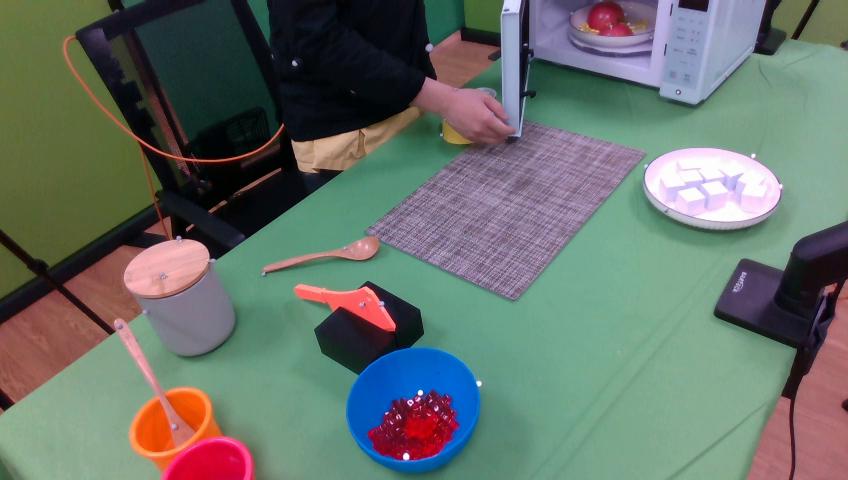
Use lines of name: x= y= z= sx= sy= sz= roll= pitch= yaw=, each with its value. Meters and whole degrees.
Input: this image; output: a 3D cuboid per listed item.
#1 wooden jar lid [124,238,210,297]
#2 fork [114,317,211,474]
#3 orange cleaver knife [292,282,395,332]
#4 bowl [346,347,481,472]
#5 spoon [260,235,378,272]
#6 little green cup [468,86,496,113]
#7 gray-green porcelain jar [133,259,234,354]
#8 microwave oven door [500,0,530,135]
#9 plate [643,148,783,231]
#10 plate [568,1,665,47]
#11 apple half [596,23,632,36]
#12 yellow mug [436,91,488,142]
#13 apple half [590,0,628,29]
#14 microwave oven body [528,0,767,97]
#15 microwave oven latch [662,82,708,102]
wooden jar lid: x=-0.335 y=0.039 z=0.794 sx=0.108 sy=0.021 sz=0.108 roll=-2 pitch=40 yaw=2
fork: x=-0.309 y=0.179 z=0.708 sx=0.028 sy=0.018 sz=0.207 roll=-30 pitch=89 yaw=-24
orange cleaver knife: x=-0.115 y=0.091 z=0.835 sx=0.209 sy=0.077 sz=0.012 roll=2 pitch=32 yaw=48
bowl: x=-0.008 y=0.205 z=0.691 sx=0.151 sy=0.077 sz=0.150 roll=-4 pitch=40 yaw=4
spoon: x=-0.167 y=0.024 z=0.966 sx=0.194 sy=0.022 sz=0.041 roll=-10 pitch=59 yaw=-3
little green cup: x=0.123 y=-0.298 z=1.285 sx=0.061 sy=0.039 sz=0.061 roll=-3 pitch=40 yaw=3
gray-green porcelain jar: x=-0.328 y=0.087 z=0.836 sx=0.106 sy=0.127 sz=0.105 roll=-4 pitch=41 yaw=4
microwave oven door: x=0.188 y=-0.411 z=1.225 sx=0.039 sy=0.245 sz=0.355 roll=2 pitch=42 yaw=11
plate: x=0.464 y=-0.080 z=0.986 sx=0.207 sy=0.039 sz=0.206 roll=-4 pitch=41 yaw=4
plate: x=0.431 y=-0.486 z=1.366 sx=0.209 sy=0.038 sz=0.208 roll=-4 pitch=41 yaw=4
apple half: x=0.417 y=-0.460 z=1.328 sx=0.081 sy=0.033 sz=0.081 roll=-2 pitch=38 yaw=2
yellow mug: x=0.069 y=-0.256 z=1.226 sx=0.100 sy=0.064 sz=0.129 roll=-32 pitch=45 yaw=-29
apple half: x=0.418 y=-0.522 z=1.378 sx=0.081 sy=0.054 sz=0.074 roll=-40 pitch=37 yaw=-17
microwave oven body: x=0.473 y=-0.516 z=1.313 sx=0.438 sy=0.261 sz=0.327 roll=26 pitch=51 yaw=34
microwave oven latch: x=0.517 y=-0.298 z=1.202 sx=0.078 sy=0.029 sz=0.030 roll=27 pitch=52 yaw=34
